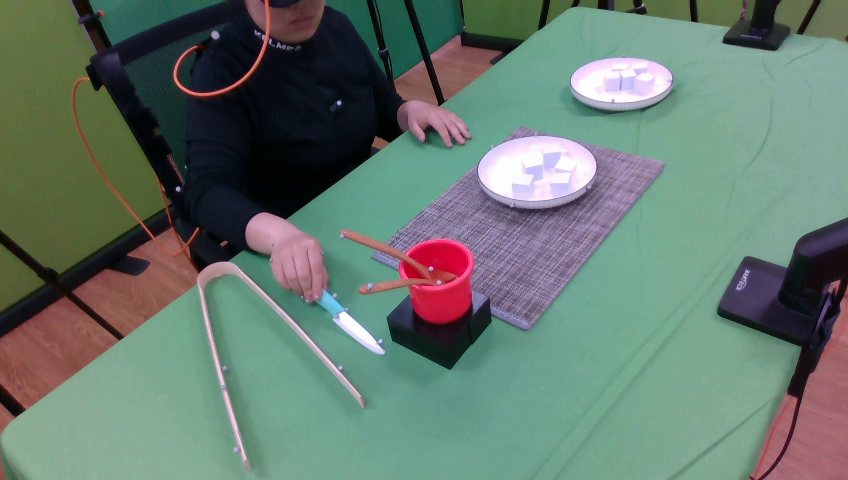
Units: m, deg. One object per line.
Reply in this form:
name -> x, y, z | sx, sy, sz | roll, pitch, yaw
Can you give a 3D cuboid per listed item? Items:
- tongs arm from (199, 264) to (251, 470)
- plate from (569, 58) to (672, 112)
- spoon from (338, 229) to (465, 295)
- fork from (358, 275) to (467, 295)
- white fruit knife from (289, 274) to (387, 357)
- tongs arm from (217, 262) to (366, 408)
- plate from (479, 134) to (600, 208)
tongs arm -> -0.269, 0.154, 0.841 | 0.051, 0.026, 0.381 | -23, 40, -17
plate -> 0.411, -0.323, 1.274 | 0.209, 0.038, 0.208 | -5, 41, 5
spoon -> -0.025, 0.026, 0.776 | 0.021, 0.195, 0.041 | -41, 34, 31
fork -> -0.009, 0.056, 0.739 | 0.028, 0.018, 0.209 | 48, 23, 26
white fruit knife -> -0.125, 0.106, 0.870 | 0.206, 0.016, 0.027 | 34, 98, 29
tongs arm -> -0.201, 0.123, 0.871 | 0.028, 0.028, 0.384 | -35, 46, -24
plate -> 0.202, -0.117, 1.065 | 0.207, 0.039, 0.206 | -5, 40, 5
